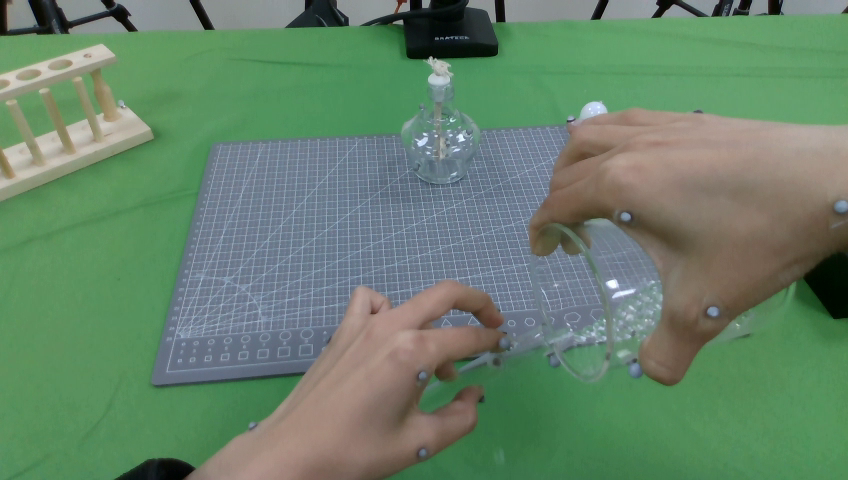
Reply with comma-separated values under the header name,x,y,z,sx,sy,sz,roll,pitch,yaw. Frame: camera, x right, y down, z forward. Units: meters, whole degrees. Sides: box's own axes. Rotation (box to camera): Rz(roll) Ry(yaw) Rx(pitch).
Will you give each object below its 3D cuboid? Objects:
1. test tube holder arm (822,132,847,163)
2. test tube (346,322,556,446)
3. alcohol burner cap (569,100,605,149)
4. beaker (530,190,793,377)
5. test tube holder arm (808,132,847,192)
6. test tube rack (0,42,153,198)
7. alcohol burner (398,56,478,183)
name,x,y,z,sx,sy,sz,roll,pitch,yaw
test tube holder arm,0.371,-0.034,0.500,0.013,0.015,0.176,-7,44,4
test tube,0.009,0.085,0.345,0.150,0.017,0.017,-34,37,27
alcohol burner cap,0.173,-0.124,0.636,0.034,0.048,0.033,1,44,0
beaker,0.111,0.019,0.290,0.100,0.084,0.073,-11,59,-12
test tube holder arm,0.364,-0.065,0.533,0.010,0.015,0.087,-6,44,4
test tube rack,-0.399,-0.101,0.574,0.242,0.086,0.066,-32,53,-29
alcohol burner,0.013,-0.115,0.573,0.078,0.120,0.077,-1,43,1
